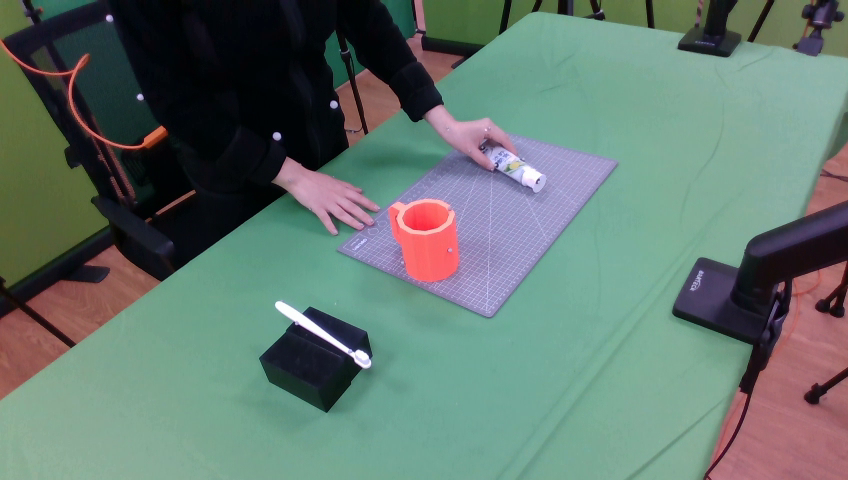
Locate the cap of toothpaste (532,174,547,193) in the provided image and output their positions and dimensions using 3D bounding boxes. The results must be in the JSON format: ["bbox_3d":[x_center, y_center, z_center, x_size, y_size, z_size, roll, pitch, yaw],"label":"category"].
[{"bbox_3d":[0.200,-0.100,1.053,0.011,0.037,0.037,31,53,33],"label":"cap of toothpaste"}]

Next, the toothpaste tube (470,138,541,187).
[{"bbox_3d":[0.154,-0.141,1.105,0.055,0.035,0.163,-37,48,-14],"label":"toothpaste tube"}]

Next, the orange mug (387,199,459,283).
[{"bbox_3d":[-0.006,-0.007,0.923,0.125,0.101,0.084,32,54,32],"label":"orange mug"}]

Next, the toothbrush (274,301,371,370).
[{"bbox_3d":[-0.135,0.119,0.783,0.180,0.017,0.014,25,53,32],"label":"toothbrush"}]
